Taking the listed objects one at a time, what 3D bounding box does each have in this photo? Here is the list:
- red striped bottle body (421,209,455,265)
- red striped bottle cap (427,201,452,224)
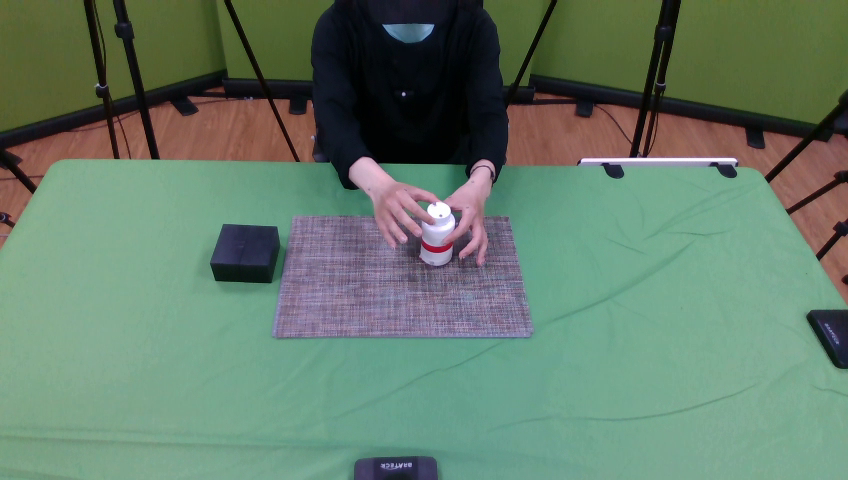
[{"bbox_3d":[0.027,-0.014,1.135,0.063,0.120,0.062,0,45,0],"label":"red striped bottle body"},{"bbox_3d":[0.028,-0.051,1.097,0.044,0.018,0.044,-4,49,5],"label":"red striped bottle cap"}]
